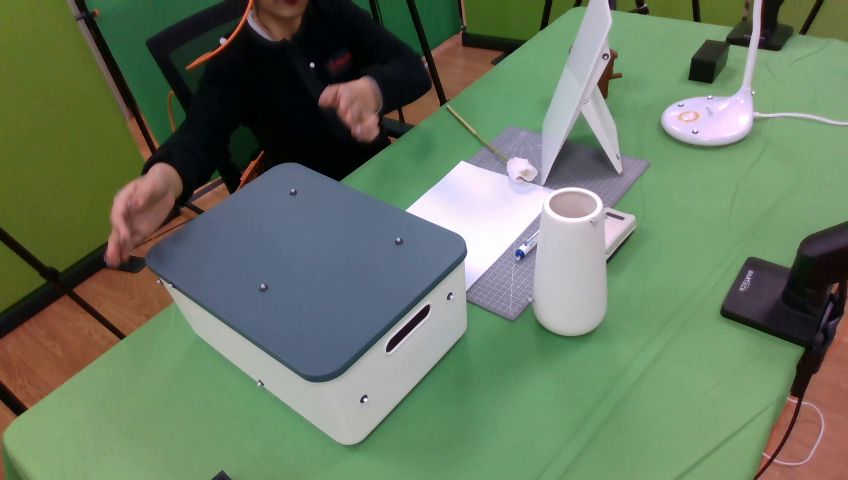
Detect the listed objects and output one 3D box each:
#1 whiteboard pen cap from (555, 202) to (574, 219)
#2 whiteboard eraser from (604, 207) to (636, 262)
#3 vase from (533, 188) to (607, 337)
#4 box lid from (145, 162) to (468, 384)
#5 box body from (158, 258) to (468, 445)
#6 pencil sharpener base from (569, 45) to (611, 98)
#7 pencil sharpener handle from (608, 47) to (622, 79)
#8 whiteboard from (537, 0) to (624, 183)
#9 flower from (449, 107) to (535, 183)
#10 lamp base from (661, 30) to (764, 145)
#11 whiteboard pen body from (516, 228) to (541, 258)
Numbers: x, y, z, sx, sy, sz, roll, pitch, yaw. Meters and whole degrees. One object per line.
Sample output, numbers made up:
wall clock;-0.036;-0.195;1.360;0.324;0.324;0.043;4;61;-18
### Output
whiteboard pen cap;0.230;-0.048;0.994;0.018;0.018;0.033;26;54;34
whiteboard eraser;0.272;-0.003;0.919;0.055;0.042;0.113;27;51;32
vase;0.187;0.033;0.771;0.098;0.201;0.097;-6;41;6
box lid;-0.157;0.014;0.769;0.368;0.015;0.264;25;51;33
box body;-0.147;0.072;0.816;0.361;0.161;0.255;24;50;33
pencil sharpener base;0.346;-0.352;1.262;0.077;0.107;0.061;-10;40;-1
pencil sharpener handle;0.395;-0.369;1.254;0.031;0.068;0.036;-10;32;-1
whiteboard;0.316;-0.256;1.047;0.144;0.306;0.216;15;42;-1
flower;0.118;-0.202;1.201;0.044;0.038;0.358;-23;37;-8
lamp base;0.535;-0.287;1.096;0.179;0.181;0.159;-10;40;-4
whiteboard pen body;0.192;-0.015;0.964;0.017;0.017;0.141;26;51;34
